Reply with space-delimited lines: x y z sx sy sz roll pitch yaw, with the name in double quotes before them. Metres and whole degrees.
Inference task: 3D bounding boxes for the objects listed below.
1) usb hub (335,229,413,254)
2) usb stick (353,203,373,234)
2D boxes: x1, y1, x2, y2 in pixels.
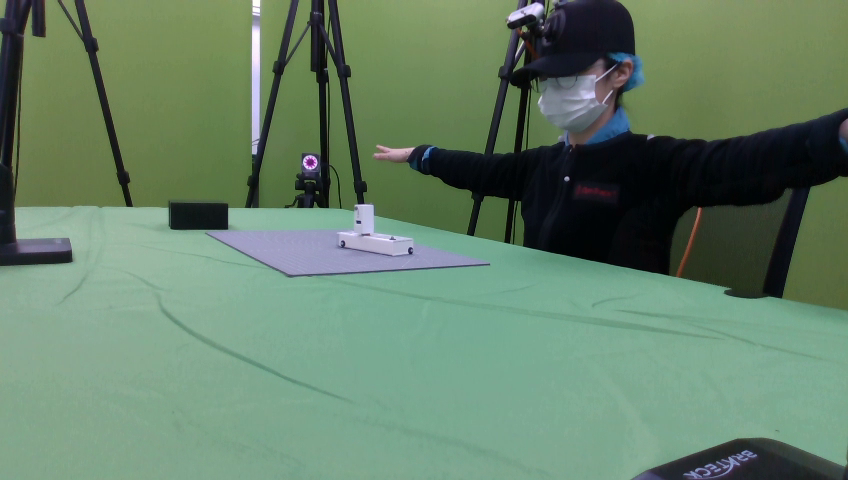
"usb hub" -0.080 0.001 0.947 0.124 0.025 0.050 7 10 39
"usb stick" -0.094 -0.028 0.936 0.021 0.059 0.027 5 11 39
